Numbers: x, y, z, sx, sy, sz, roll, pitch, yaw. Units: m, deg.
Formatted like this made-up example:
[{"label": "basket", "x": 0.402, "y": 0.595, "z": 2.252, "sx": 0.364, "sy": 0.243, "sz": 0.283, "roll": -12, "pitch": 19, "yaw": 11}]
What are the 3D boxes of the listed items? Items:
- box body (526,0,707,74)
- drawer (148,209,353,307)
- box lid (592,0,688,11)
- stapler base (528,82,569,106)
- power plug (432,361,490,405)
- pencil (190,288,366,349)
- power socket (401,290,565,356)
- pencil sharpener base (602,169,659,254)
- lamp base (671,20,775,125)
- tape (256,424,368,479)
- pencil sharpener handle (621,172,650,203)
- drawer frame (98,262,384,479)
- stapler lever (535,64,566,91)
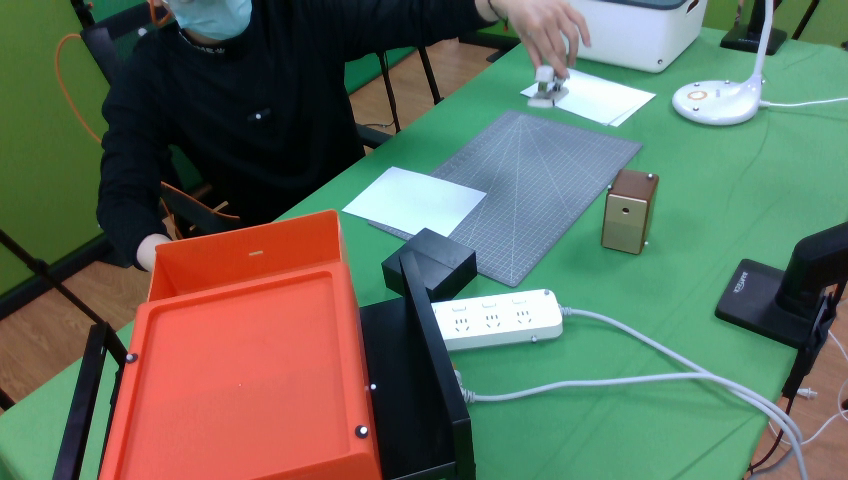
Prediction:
[{"label": "box body", "x": 0.450, "y": -0.540, "z": 1.430, "sx": 0.361, "sy": 0.161, "sz": 0.255, "roll": 24, "pitch": 50, "yaw": 31}, {"label": "drawer", "x": -0.166, "y": 0.075, "z": 0.590, "sx": 0.195, "sy": 0.073, "sz": 0.210, "roll": -11, "pitch": 41, "yaw": -5}, {"label": "box lid", "x": 0.441, "y": -0.596, "z": 1.383, "sx": 0.368, "sy": 0.015, "sz": 0.264, "roll": 24, "pitch": 49, "yaw": 31}, {"label": "stapler base", "x": 0.202, "y": -0.241, "z": 0.976, "sx": 0.041, "sy": 0.024, "sz": 0.131, "roll": 14, "pitch": 26, "yaw": 20}, {"label": "power plug", "x": 0.044, "y": 0.182, "z": 0.759, "sx": 0.073, "sy": 0.035, "sz": 0.052, "roll": 25, "pitch": 41, "yaw": -20}, {"label": "pencil", "x": -0.150, "y": 0.077, "z": 0.612, "sx": 0.194, "sy": 0.012, "sz": 0.012, "roll": 16, "pitch": 45, "yaw": 8}, {"label": "power socket", "x": 0.080, "y": 0.112, "z": 0.821, "sx": 0.227, "sy": 0.033, "sz": 0.072, "roll": -6, "pitch": 41, "yaw": 0}, {"label": "pencil sharpener base", "x": 0.312, "y": -0.044, "z": 0.913, "sx": 0.061, "sy": 0.107, "sz": 0.077, "roll": 14, "pitch": 45, "yaw": 24}, {"label": "lamp base", "x": 0.582, "y": -0.332, "z": 1.153, "sx": 0.179, "sy": 0.181, "sz": 0.160, "roll": 2, "pitch": 41, "yaw": 7}, {"label": "tape", "x": -0.121, "y": 0.263, "z": 0.659, "sx": 0.117, "sy": 0.053, "sz": 0.116, "roll": -5, "pitch": 39, "yaw": 4}, {"label": "pencil sharpener handle", "x": 0.328, "y": -0.087, "z": 0.940, "sx": 0.036, "sy": 0.068, "sz": 0.030, "roll": 30, "pitch": 49, "yaw": 7}, {"label": "drawer frame", "x": -0.148, "y": 0.130, "z": 0.518, "sx": 0.202, "sy": 0.083, "sz": 0.212, "roll": -12, "pitch": 41, "yaw": -6}, {"label": "stapler lever", "x": 0.203, "y": -0.264, "z": 0.966, "sx": 0.026, "sy": 0.040, "sz": 0.118, "roll": 14, "pitch": 26, "yaw": 20}]
